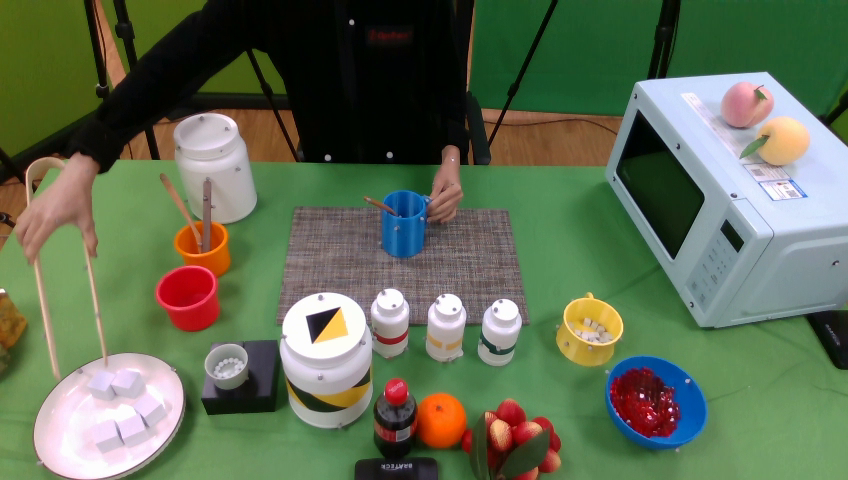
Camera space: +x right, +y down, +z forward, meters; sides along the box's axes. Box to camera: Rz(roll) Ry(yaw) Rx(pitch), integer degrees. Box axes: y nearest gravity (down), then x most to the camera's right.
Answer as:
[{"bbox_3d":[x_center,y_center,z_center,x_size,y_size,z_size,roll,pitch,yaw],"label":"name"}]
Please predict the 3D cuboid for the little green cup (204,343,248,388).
[{"bbox_3d":[-0.294,0.190,0.909,0.061,0.039,0.061,1,48,-1],"label":"little green cup"}]

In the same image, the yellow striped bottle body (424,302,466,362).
[{"bbox_3d":[0.035,0.143,0.995,0.063,0.121,0.062,3,46,-3],"label":"yellow striped bottle body"}]

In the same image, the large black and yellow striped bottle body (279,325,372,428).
[{"bbox_3d":[-0.143,0.181,0.900,0.131,0.185,0.130,2,46,-2],"label":"large black and yellow striped bottle body"}]

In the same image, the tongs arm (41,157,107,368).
[{"bbox_3d":[-0.543,0.024,0.935,0.051,0.026,0.382,-13,62,-22],"label":"tongs arm"}]

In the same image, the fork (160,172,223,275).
[{"bbox_3d":[-0.425,-0.030,1.103,0.028,0.018,0.207,-29,99,-21],"label":"fork"}]

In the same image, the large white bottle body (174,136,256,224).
[{"bbox_3d":[-0.408,-0.136,1.183,0.131,0.185,0.130,2,46,-2],"label":"large white bottle body"}]

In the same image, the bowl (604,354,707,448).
[{"bbox_3d":[0.346,0.261,0.937,0.151,0.077,0.150,2,46,-2],"label":"bowl"}]

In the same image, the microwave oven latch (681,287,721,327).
[{"bbox_3d":[0.494,0.119,1.087,0.030,0.029,0.078,-6,46,-9],"label":"microwave oven latch"}]

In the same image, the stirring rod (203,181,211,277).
[{"bbox_3d":[-0.396,-0.021,1.106,0.014,0.006,0.176,0,89,-4],"label":"stirring rod"}]

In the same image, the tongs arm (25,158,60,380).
[{"bbox_3d":[-0.576,0.032,0.919,0.028,0.028,0.385,-15,63,-19],"label":"tongs arm"}]

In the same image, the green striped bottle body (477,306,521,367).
[{"bbox_3d":[0.124,0.151,0.995,0.063,0.120,0.063,2,46,-2],"label":"green striped bottle body"}]

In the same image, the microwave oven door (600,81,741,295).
[{"bbox_3d":[0.454,-0.107,1.161,0.039,0.245,0.353,-6,47,-11],"label":"microwave oven door"}]

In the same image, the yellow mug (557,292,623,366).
[{"bbox_3d":[0.285,0.145,1.051,0.100,0.064,0.130,7,45,4],"label":"yellow mug"}]

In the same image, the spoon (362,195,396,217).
[{"bbox_3d":[-0.066,-0.050,1.119,0.021,0.195,0.041,-49,61,1],"label":"spoon"}]

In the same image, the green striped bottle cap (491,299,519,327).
[{"bbox_3d":[0.128,0.115,0.958,0.044,0.020,0.044,0,45,0],"label":"green striped bottle cap"}]

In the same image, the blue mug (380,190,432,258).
[{"bbox_3d":[-0.030,-0.038,1.170,0.116,0.106,0.082,-30,55,-29],"label":"blue mug"}]

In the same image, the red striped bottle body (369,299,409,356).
[{"bbox_3d":[-0.058,0.134,0.997,0.063,0.120,0.062,4,47,-4],"label":"red striped bottle body"}]

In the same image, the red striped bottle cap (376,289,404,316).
[{"bbox_3d":[-0.055,0.098,0.959,0.044,0.018,0.044,0,48,0],"label":"red striped bottle cap"}]

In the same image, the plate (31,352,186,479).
[{"bbox_3d":[-0.459,0.262,0.898,0.209,0.038,0.208,2,46,-2],"label":"plate"}]

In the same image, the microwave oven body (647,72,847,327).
[{"bbox_3d":[0.607,-0.089,1.164,0.326,0.261,0.438,-7,46,-10],"label":"microwave oven body"}]

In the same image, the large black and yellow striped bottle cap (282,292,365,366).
[{"bbox_3d":[-0.139,0.121,0.841,0.115,0.019,0.114,3,47,-3],"label":"large black and yellow striped bottle cap"}]

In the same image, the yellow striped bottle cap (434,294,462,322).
[{"bbox_3d":[0.037,0.107,0.958,0.044,0.019,0.044,2,45,-2],"label":"yellow striped bottle cap"}]

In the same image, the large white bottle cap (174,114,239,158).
[{"bbox_3d":[-0.402,-0.194,1.121,0.115,0.018,0.114,2,47,-2],"label":"large white bottle cap"}]
